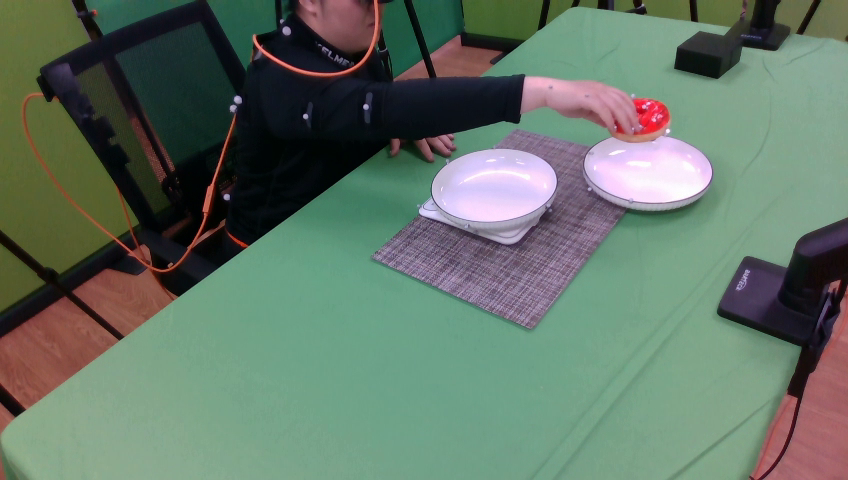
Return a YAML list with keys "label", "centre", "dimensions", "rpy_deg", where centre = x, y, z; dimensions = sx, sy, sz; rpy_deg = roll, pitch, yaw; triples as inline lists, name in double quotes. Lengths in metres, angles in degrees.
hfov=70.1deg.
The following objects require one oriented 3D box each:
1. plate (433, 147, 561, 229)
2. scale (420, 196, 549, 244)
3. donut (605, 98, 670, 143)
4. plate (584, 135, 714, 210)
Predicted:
- label: "plate"
  centre: [0.120, -0.082, 0.996]
  dimensions: [0.207, 0.039, 0.206]
  rpy_deg: [-6, 40, 5]
- label: "scale"
  centre: [0.106, -0.064, 1.029]
  dimensions: [0.199, 0.032, 0.149]
  rpy_deg: [21, 48, 32]
- label: "donut"
  centre: [0.345, -0.193, 0.978]
  dimensions: [0.099, 0.048, 0.098]
  rpy_deg: [-10, 40, 9]
- label: "plate"
  centre: [0.379, -0.113, 1.030]
  dimensions: [0.209, 0.038, 0.208]
  rpy_deg: [-4, 41, 4]
